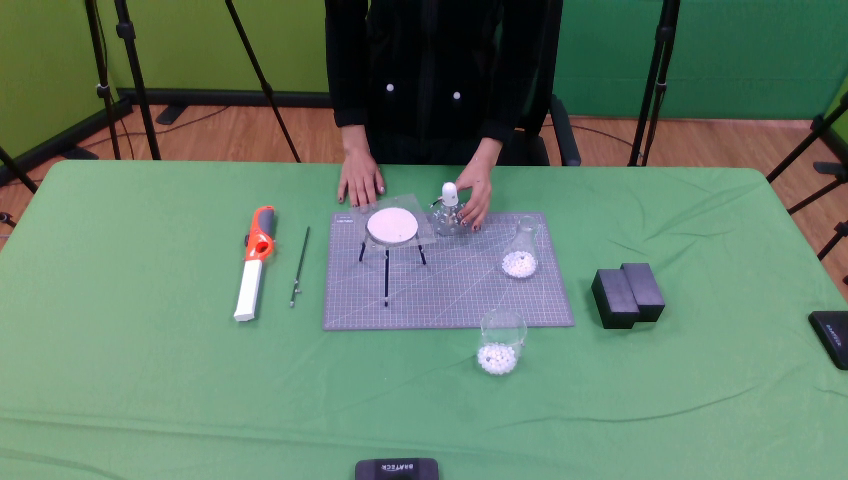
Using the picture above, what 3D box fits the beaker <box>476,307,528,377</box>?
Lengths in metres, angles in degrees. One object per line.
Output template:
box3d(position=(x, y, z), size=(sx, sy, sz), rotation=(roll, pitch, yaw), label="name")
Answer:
box3d(position=(0.122, 0.171, 0.991), size=(0.084, 0.101, 0.073), rotation=(-34, 56, -30), label="beaker")

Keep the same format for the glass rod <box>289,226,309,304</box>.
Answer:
box3d(position=(-0.235, 0.043, 1.150), size=(0.008, 0.008, 0.198), rotation=(3, 46, -1), label="glass rod")

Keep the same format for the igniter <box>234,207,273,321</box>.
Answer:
box3d(position=(-0.318, 0.035, 1.137), size=(0.057, 0.025, 0.274), rotation=(-8, 46, 3), label="igniter")

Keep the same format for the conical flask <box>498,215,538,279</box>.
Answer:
box3d(position=(0.183, 0.010, 1.132), size=(0.075, 0.122, 0.075), rotation=(2, 46, -2), label="conical flask")

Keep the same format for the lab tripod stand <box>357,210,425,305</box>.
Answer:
box3d(position=(-0.060, 0.020, 1.094), size=(0.148, 0.132, 0.147), rotation=(3, 44, -2), label="lab tripod stand")

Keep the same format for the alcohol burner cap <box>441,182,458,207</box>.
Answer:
box3d(position=(0.048, -0.090, 1.174), size=(0.034, 0.048, 0.033), rotation=(-4, 50, 5), label="alcohol burner cap")

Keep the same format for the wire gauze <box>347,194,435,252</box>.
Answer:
box3d(position=(-0.058, -0.029, 1.048), size=(0.125, 0.011, 0.120), rotation=(-12, 48, -16), label="wire gauze")

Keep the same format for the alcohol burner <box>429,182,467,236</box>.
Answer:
box3d(position=(0.048, -0.066, 1.201), size=(0.078, 0.120, 0.077), rotation=(1, 46, -1), label="alcohol burner")
